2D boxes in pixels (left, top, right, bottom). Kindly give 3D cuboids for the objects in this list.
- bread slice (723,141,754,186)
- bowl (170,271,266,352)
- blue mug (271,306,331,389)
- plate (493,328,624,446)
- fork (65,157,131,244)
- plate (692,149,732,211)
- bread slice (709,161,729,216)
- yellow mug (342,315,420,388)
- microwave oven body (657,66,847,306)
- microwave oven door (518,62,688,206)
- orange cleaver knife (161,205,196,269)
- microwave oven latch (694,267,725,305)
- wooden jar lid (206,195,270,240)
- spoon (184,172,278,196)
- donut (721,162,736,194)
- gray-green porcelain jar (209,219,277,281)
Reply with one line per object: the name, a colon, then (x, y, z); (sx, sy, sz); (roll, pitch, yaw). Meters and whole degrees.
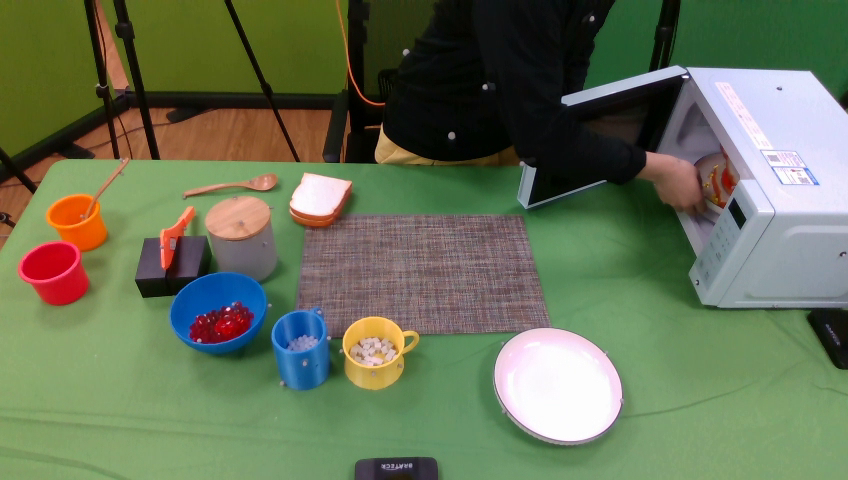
bread slice: (0.660, -0.146, 1.200); (0.107, 0.018, 0.133); (1, 53, 8)
bowl: (-0.333, 0.132, 1.006); (0.151, 0.077, 0.150); (2, 46, -2)
blue mug: (-0.188, 0.163, 0.969); (0.082, 0.106, 0.116); (15, 47, 10)
plate: (0.213, 0.236, 0.974); (0.208, 0.039, 0.206); (2, 46, -2)
fork: (-0.609, -0.074, 1.133); (0.207, 0.019, 0.028); (-52, 51, 10)
plate: (0.656, -0.110, 1.239); (0.209, 0.038, 0.208); (-1, 45, 1)
bread slice: (0.653, -0.105, 1.261); (0.105, 0.019, 0.131); (11, 70, 6)
yellow mug: (-0.067, 0.177, 0.990); (0.131, 0.064, 0.099); (-16, 50, -19)
microwave oven body: (0.669, -0.111, 1.176); (0.326, 0.261, 0.439); (0, 46, -3)
microwave oven door: (0.368, -0.218, 1.250); (0.356, 0.245, 0.039); (-19, 51, -21)
orange cleaver knife: (-0.454, -0.010, 1.129); (0.012, 0.077, 0.210); (-2, 20, -5)
microwave oven latch: (0.523, 0.082, 1.115); (0.030, 0.029, 0.078); (3, 46, 0)
wooden jar lid: (-0.319, -0.036, 1.046); (0.108, 0.021, 0.107); (1, 44, 0)
spoon: (-0.405, -0.116, 1.275); (0.194, 0.022, 0.041); (-8, 65, -12)
donut: (0.648, -0.125, 1.215); (0.099, 0.048, 0.098); (-4, 56, 6)
gray-green porcelain jar: (-0.323, 0.007, 1.092); (0.106, 0.127, 0.105); (2, 46, -2)
